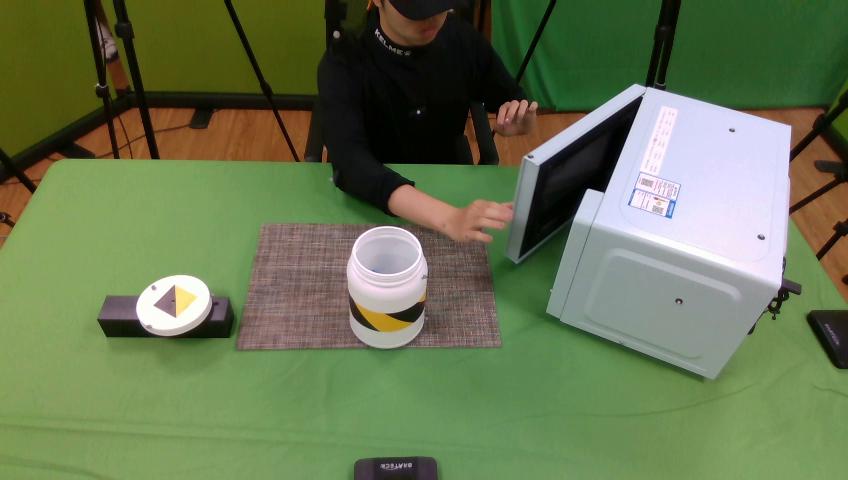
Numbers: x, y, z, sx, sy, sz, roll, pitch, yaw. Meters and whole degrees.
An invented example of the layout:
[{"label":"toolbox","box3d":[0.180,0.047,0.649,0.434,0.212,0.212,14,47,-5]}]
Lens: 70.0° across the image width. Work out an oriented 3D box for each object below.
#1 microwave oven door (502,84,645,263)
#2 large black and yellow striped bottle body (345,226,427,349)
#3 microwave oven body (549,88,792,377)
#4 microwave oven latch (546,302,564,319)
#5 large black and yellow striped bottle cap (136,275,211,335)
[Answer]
[{"label":"microwave oven door","box3d":[0.293,-0.133,1.170,0.356,0.245,0.039,-34,57,-31]},{"label":"large black and yellow striped bottle body","box3d":[-0.062,0.078,0.998,0.131,0.185,0.130,2,46,-2]},{"label":"microwave oven body","box3d":[0.456,-0.028,1.088,0.325,0.261,0.440,20,47,16]},{"label":"microwave oven latch","box3d":[0.242,0.102,1.081,0.030,0.029,0.079,21,48,17]},{"label":"large black and yellow striped bottle cap","box3d":[-0.412,0.105,0.998,0.115,0.019,0.114,3,47,-3]}]
